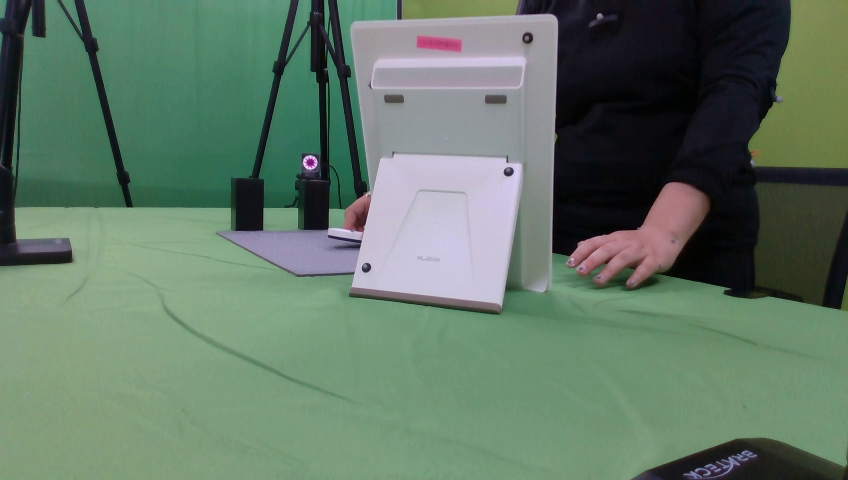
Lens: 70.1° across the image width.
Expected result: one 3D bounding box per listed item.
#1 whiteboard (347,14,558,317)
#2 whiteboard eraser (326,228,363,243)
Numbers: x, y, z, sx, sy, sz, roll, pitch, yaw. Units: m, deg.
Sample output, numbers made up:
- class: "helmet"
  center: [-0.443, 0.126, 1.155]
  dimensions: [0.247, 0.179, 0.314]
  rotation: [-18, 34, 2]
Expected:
- class: "whiteboard"
  center: [0.012, -0.056, 0.609]
  dimensions: [0.216, 0.305, 0.144]
  rotation: [5, 27, 19]
- class: "whiteboard eraser"
  center: [-0.109, -0.005, 0.973]
  dimensions: [0.102, 0.019, 0.041]
  rotation: [10, 0, -34]
